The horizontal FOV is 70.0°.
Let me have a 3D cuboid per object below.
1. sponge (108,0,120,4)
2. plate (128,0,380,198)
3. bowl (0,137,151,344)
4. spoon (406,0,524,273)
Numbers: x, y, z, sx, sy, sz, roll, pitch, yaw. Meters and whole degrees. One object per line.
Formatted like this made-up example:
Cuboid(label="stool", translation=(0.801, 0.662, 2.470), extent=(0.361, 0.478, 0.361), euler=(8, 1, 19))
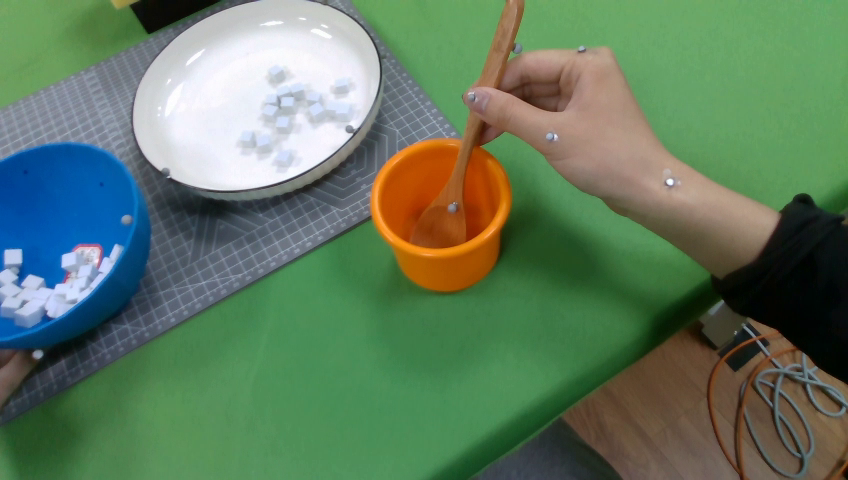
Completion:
Cuboid(label="sponge", translation=(-0.218, -0.311, 0.549), extent=(0.207, 0.061, 0.117), euler=(-29, 64, -10))
Cuboid(label="plate", translation=(-0.138, -0.120, 0.507), extent=(0.209, 0.038, 0.207), euler=(-2, 63, 5))
Cuboid(label="bowl", translation=(-0.256, 0.011, 0.429), extent=(0.151, 0.077, 0.150), euler=(-3, 63, 5))
Cuboid(label="spoon", translation=(0.028, -0.063, 0.394), extent=(0.041, 0.195, 0.021), euler=(27, 30, 16))
